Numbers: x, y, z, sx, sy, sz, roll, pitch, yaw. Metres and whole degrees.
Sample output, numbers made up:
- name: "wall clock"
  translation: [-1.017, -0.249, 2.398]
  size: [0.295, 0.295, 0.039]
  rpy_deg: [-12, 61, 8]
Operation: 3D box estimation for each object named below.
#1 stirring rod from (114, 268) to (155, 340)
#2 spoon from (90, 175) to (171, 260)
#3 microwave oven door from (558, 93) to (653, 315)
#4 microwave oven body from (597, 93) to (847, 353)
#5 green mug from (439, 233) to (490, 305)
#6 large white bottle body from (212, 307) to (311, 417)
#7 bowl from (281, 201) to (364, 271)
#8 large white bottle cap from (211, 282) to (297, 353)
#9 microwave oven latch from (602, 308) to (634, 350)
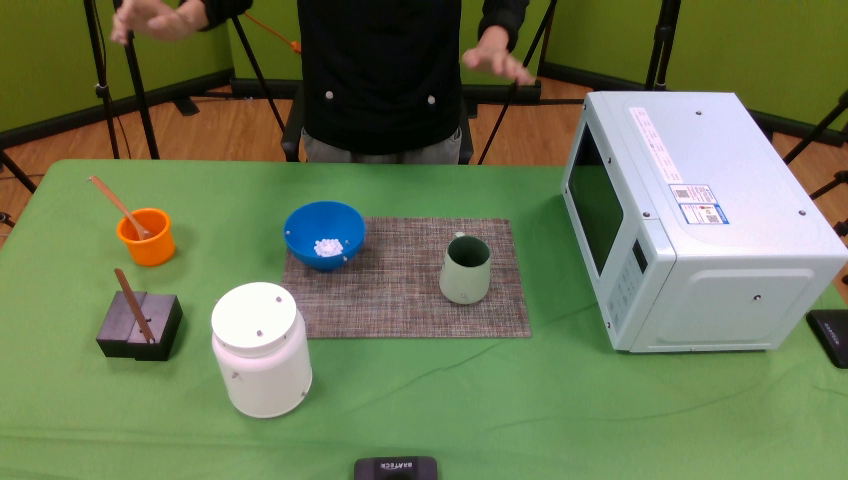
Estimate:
- name: "stirring rod"
  translation: [-0.479, 0.103, 0.999]
  size: [0.014, 0.006, 0.175]
  rpy_deg: [7, 32, -49]
- name: "spoon"
  translation: [-0.539, -0.042, 1.112]
  size: [0.021, 0.194, 0.041]
  rpy_deg: [-13, 27, 52]
- name: "microwave oven door"
  translation: [0.327, -0.074, 1.123]
  size: [0.039, 0.245, 0.353]
  rpy_deg: [0, 46, -5]
- name: "microwave oven body"
  translation: [0.475, -0.042, 1.109]
  size: [0.326, 0.261, 0.438]
  rpy_deg: [-1, 45, -4]
- name: "green mug"
  translation: [0.071, 0.044, 1.101]
  size: [0.092, 0.105, 0.124]
  rpy_deg: [-6, 46, -9]
- name: "large white bottle body"
  translation: [-0.241, 0.165, 0.907]
  size: [0.131, 0.185, 0.130]
  rpy_deg: [2, 45, -2]
- name: "bowl"
  translation: [-0.187, 0.005, 1.138]
  size: [0.151, 0.077, 0.150]
  rpy_deg: [3, 46, -3]
- name: "large white bottle cap"
  translation: [-0.237, 0.106, 0.846]
  size: [0.115, 0.018, 0.114]
  rpy_deg: [2, 45, -2]
- name: "microwave oven latch"
  translation: [0.332, 0.152, 1.044]
  size: [0.030, 0.029, 0.078]
  rpy_deg: [-1, 45, -4]
